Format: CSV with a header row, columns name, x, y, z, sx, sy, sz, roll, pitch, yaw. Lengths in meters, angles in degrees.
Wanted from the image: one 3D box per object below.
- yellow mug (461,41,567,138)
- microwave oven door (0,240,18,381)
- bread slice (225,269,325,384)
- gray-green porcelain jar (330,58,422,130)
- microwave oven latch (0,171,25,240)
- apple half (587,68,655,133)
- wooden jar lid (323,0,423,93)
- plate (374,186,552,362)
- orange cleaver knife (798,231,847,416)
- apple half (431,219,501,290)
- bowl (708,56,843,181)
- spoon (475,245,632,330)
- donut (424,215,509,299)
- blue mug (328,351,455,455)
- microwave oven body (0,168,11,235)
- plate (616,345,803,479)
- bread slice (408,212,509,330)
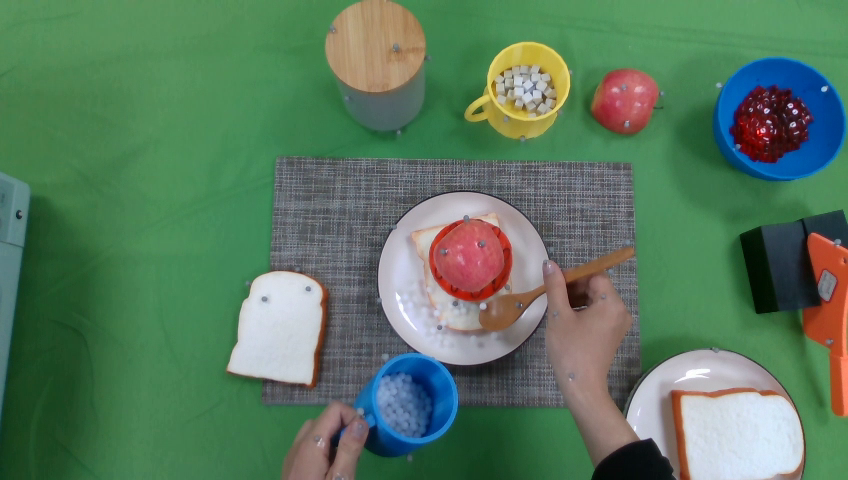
name,x,y,z,sx,sy,sz,roll,pitch,yaw
yellow mug,0.107,-0.179,0.750,0.131,0.064,0.099,-23,81,-3
microwave oven door,-0.504,0.157,0.580,0.039,0.244,0.354,1,80,0
bread slice,-0.175,0.099,0.721,0.105,0.019,0.131,8,82,0
gray-green porcelain jar,-0.054,-0.197,0.721,0.106,0.127,0.105,0,80,0
microwave oven latch,-0.496,-0.041,0.716,0.030,0.029,0.079,5,81,0
apple half,0.249,-0.181,0.758,0.074,0.053,0.080,23,81,6
wooden jar lid,-0.055,-0.209,0.660,0.108,0.021,0.108,0,78,0
plate,0.045,0.041,0.722,0.208,0.039,0.207,0,80,0
orange cleaver knife,0.460,0.096,0.696,0.012,0.077,0.212,-10,102,-9
apple half,0.048,0.015,0.662,0.081,0.033,0.081,-1,81,6
bowl,0.410,-0.137,0.738,0.151,0.077,0.151,0,81,0
spoon,0.127,0.049,0.622,0.022,0.194,0.041,24,50,-32
donut,0.049,0.020,0.697,0.099,0.048,0.098,0,80,0
blue mug,-0.039,0.167,0.588,0.117,0.106,0.082,-20,73,-26
microwave oven body,-0.648,0.113,0.592,0.326,0.261,0.440,1,81,0
plate,0.322,0.225,0.696,0.209,0.038,0.208,0,80,0
bread slice,0.049,0.040,0.726,0.107,0.018,0.133,-16,78,-3
